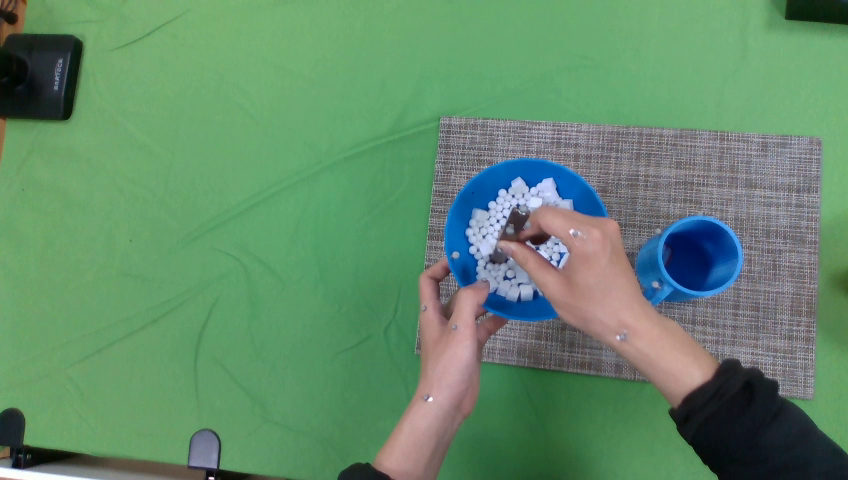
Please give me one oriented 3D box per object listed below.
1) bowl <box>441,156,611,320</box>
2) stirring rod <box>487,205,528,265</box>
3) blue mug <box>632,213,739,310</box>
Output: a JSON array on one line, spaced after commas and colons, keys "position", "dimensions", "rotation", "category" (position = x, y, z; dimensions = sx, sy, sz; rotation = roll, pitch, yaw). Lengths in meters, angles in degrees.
[{"position": [0.093, 0.003, 0.575], "dimensions": [0.151, 0.077, 0.151], "rotation": [-1, 80, 3], "category": "bowl"}, {"position": [0.067, 0.000, 0.504], "dimensions": [0.014, 0.177, 0.006], "rotation": [8, 76, 3], "category": "stirring rod"}, {"position": [0.269, 0.032, 0.657], "dimensions": [0.082, 0.106, 0.116], "rotation": [43, 90, 11], "category": "blue mug"}]
